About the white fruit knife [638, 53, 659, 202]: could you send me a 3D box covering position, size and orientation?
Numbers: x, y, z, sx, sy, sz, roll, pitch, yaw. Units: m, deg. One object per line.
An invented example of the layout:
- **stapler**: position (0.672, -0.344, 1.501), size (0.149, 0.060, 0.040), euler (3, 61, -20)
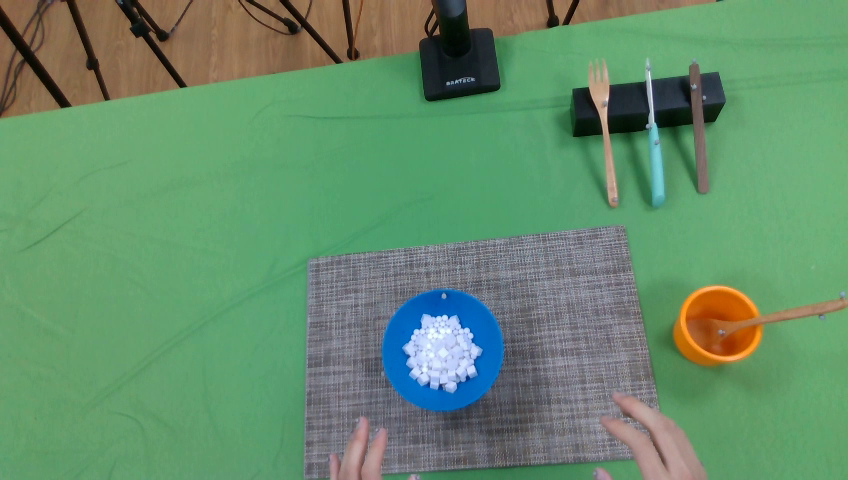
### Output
- **white fruit knife**: position (0.307, -0.156, 0.836), size (0.016, 0.027, 0.207), euler (-4, 86, 3)

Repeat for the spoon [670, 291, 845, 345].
- **spoon**: position (0.378, 0.088, 0.702), size (0.022, 0.193, 0.041), euler (14, 65, -34)

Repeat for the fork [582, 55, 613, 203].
- **fork**: position (0.245, -0.154, 0.845), size (0.028, 0.018, 0.207), euler (-8, 89, 3)

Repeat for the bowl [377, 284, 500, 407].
- **bowl**: position (0.022, 0.139, 0.767), size (0.151, 0.077, 0.150), euler (-3, 69, 7)

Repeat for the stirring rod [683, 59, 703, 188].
- **stirring rod**: position (0.370, -0.159, 0.832), size (0.014, 0.006, 0.176), euler (-6, 95, 14)
